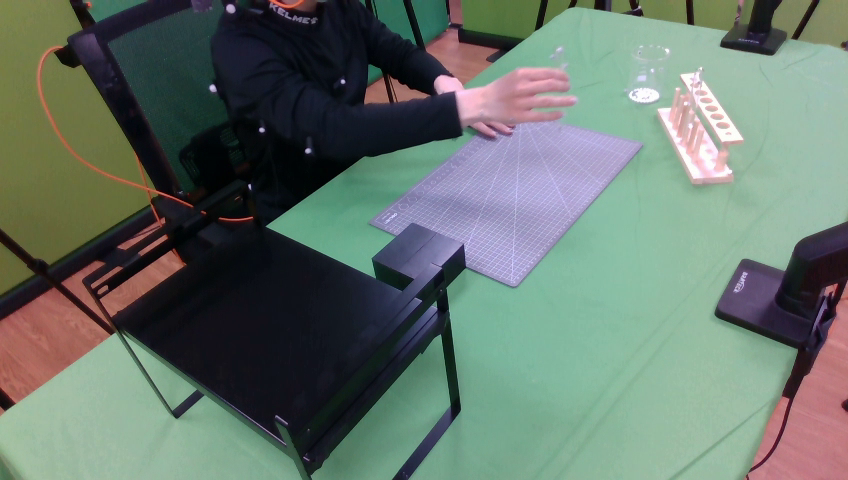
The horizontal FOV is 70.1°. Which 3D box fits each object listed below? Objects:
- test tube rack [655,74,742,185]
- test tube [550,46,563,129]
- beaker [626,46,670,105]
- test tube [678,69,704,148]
[{"bbox_3d":[0.488,-0.205,1.093,0.067,0.085,0.241,-3,41,5],"label":"test tube rack"},{"bbox_3d":[0.220,-0.249,1.004,0.017,0.151,0.017,-8,42,8],"label":"test tube"},{"bbox_3d":[0.457,-0.336,1.240,0.084,0.101,0.073,-12,41,-6],"label":"beaker"},{"bbox_3d":[0.465,-0.228,1.054,0.017,0.151,0.017,-4,41,4],"label":"test tube"}]
